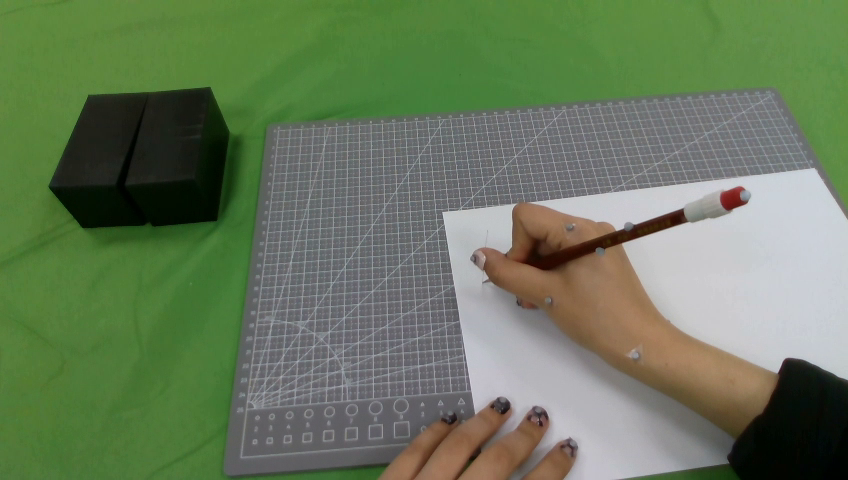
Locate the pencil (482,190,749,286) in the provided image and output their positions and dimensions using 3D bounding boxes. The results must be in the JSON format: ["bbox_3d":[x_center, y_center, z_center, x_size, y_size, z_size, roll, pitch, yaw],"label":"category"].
[{"bbox_3d":[0.094,0.007,0.353,0.012,0.193,0.012,11,68,-31],"label":"pencil"}]
